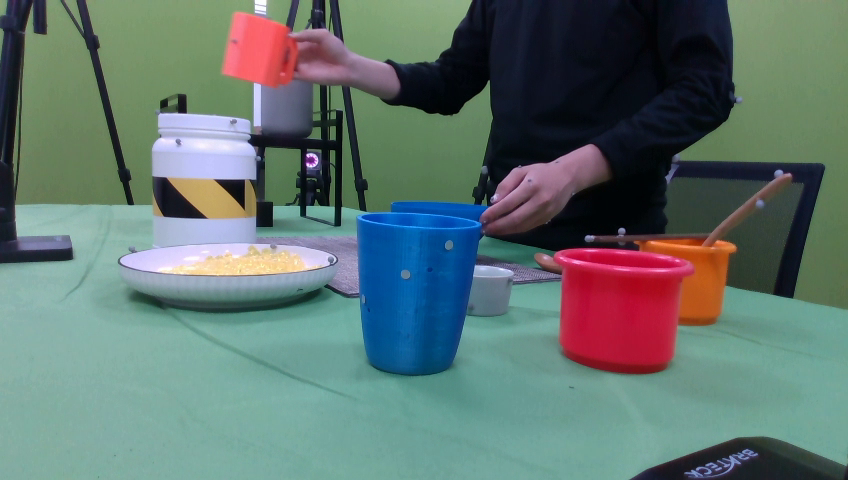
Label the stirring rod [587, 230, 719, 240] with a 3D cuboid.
[{"bbox_3d":[0.226,-0.005,0.587,0.177,0.006,0.014,-2,10,-30],"label":"stirring rod"}]

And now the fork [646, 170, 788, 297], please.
[{"bbox_3d":[0.256,0.004,0.543,0.028,0.018,0.207,3,-36,-9],"label":"fork"}]

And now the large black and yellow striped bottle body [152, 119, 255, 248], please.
[{"bbox_3d":[-0.296,-0.070,0.819,0.131,0.184,0.130,2,7,0],"label":"large black and yellow striped bottle body"}]

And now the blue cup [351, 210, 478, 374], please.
[{"bbox_3d":[-0.009,0.034,0.414,0.093,0.100,0.092,4,8,0],"label":"blue cup"}]

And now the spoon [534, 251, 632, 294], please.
[{"bbox_3d":[0.193,0.038,0.753,0.042,0.021,0.193,15,2,-21],"label":"spoon"}]

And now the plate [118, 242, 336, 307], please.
[{"bbox_3d":[-0.194,0.033,0.615,0.209,0.038,0.209,2,7,0],"label":"plate"}]

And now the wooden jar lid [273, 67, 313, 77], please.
[{"bbox_3d":[-0.283,-0.339,1.244,0.108,0.020,0.108,6,8,-1],"label":"wooden jar lid"}]

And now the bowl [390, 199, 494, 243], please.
[{"bbox_3d":[0.023,-0.015,0.872,0.151,0.077,0.151,3,7,0],"label":"bowl"}]

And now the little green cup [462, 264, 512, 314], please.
[{"bbox_3d":[0.053,0.047,0.580,0.061,0.038,0.061,3,8,0],"label":"little green cup"}]

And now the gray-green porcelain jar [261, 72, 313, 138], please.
[{"bbox_3d":[-0.284,-0.276,1.253,0.106,0.126,0.106,2,8,0],"label":"gray-green porcelain jar"}]

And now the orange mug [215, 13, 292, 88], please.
[{"bbox_3d":[-0.270,-0.302,0.982,0.083,0.100,0.127,20,15,33],"label":"orange mug"}]

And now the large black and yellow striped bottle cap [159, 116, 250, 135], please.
[{"bbox_3d":[-0.292,-0.153,0.810,0.115,0.019,0.115,3,9,0],"label":"large black and yellow striped bottle cap"}]
